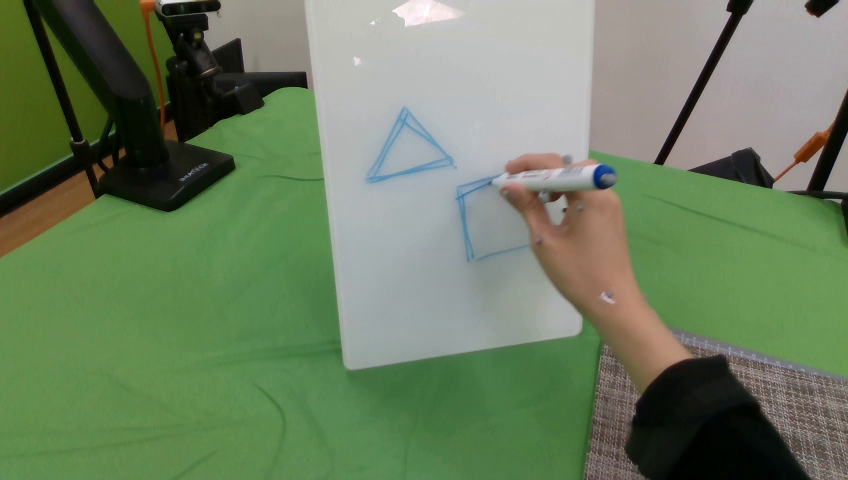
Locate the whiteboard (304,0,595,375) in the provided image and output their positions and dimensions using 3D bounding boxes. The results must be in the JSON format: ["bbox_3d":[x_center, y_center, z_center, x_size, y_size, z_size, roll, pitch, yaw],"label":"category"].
[{"bbox_3d":[0.019,-0.065,0.541,0.218,0.307,0.142,-7,19,-10],"label":"whiteboard"}]

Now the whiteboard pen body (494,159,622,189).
[{"bbox_3d":[0.085,-0.044,0.421,0.017,0.017,0.140,-16,10,-22],"label":"whiteboard pen body"}]
